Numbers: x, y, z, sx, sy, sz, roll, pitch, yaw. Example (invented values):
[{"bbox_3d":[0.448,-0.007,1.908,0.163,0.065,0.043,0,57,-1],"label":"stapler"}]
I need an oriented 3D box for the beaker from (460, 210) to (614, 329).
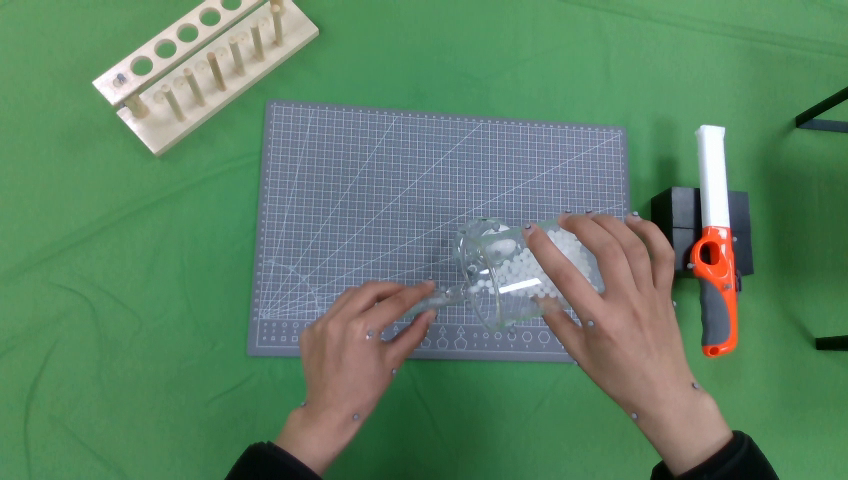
[{"bbox_3d":[0.086,0.021,0.468,0.100,0.084,0.073,-14,81,-12],"label":"beaker"}]

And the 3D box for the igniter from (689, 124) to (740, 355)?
[{"bbox_3d":[0.335,-0.005,0.705,0.057,0.025,0.275,6,76,-5],"label":"igniter"}]

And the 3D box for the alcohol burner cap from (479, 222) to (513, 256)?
[{"bbox_3d":[0.077,-0.002,0.629,0.034,0.048,0.033,1,80,-4],"label":"alcohol burner cap"}]

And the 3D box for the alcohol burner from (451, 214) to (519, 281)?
[{"bbox_3d":[0.071,0.004,0.663,0.078,0.119,0.077,2,76,-9],"label":"alcohol burner"}]

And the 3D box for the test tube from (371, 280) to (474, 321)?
[{"bbox_3d":[-0.007,0.057,0.552,0.017,0.150,0.017,11,70,-34],"label":"test tube"}]

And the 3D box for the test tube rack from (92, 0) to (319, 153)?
[{"bbox_3d":[-0.232,-0.209,0.677,0.242,0.085,0.066,-42,87,-14],"label":"test tube rack"}]
